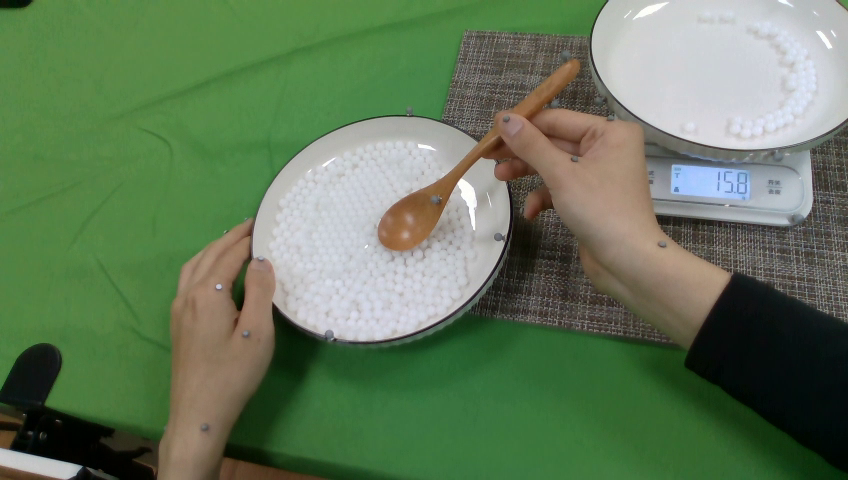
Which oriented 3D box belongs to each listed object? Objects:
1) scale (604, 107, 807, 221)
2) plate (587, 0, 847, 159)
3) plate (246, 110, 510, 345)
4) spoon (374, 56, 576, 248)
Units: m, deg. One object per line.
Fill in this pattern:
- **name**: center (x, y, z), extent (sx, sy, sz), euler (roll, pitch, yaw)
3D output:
- **scale**: center (0.231, -0.111, 0.502), extent (0.148, 0.032, 0.199), euler (7, 62, 11)
- **plate**: center (0.234, -0.144, 0.482), extent (0.207, 0.039, 0.206), euler (-3, 61, 6)
- **plate**: center (-0.036, -0.012, 0.481), extent (0.209, 0.038, 0.207), euler (-4, 61, 8)
- **spoon**: center (0.034, -0.061, 0.441), extent (0.194, 0.022, 0.041), euler (-42, 65, 23)
